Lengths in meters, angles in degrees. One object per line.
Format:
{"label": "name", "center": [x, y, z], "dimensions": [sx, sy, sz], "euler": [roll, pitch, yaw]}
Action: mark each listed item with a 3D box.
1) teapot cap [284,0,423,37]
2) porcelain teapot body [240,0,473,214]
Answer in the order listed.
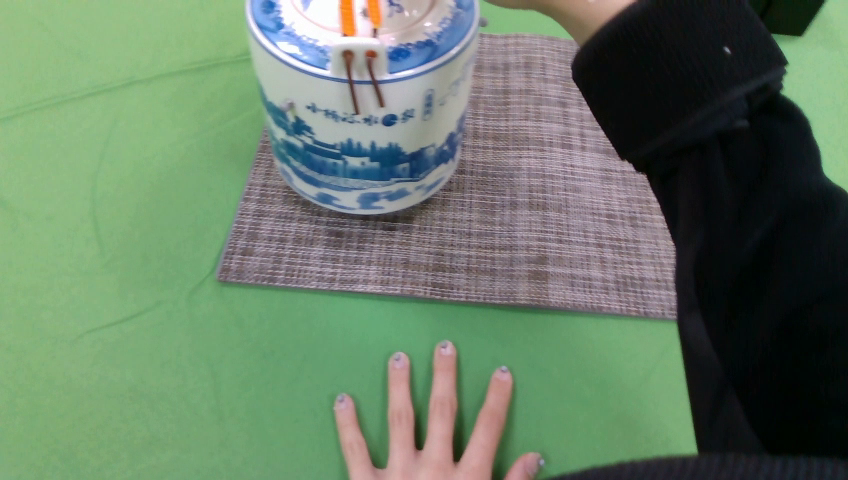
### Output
{"label": "teapot cap", "center": [-0.042, -0.154, 0.363], "dimensions": [0.085, 0.044, 0.084], "euler": [1, 56, -1]}
{"label": "porcelain teapot body", "center": [-0.044, -0.153, 0.411], "dimensions": [0.145, 0.227, 0.203], "euler": [-1, 55, -4]}
